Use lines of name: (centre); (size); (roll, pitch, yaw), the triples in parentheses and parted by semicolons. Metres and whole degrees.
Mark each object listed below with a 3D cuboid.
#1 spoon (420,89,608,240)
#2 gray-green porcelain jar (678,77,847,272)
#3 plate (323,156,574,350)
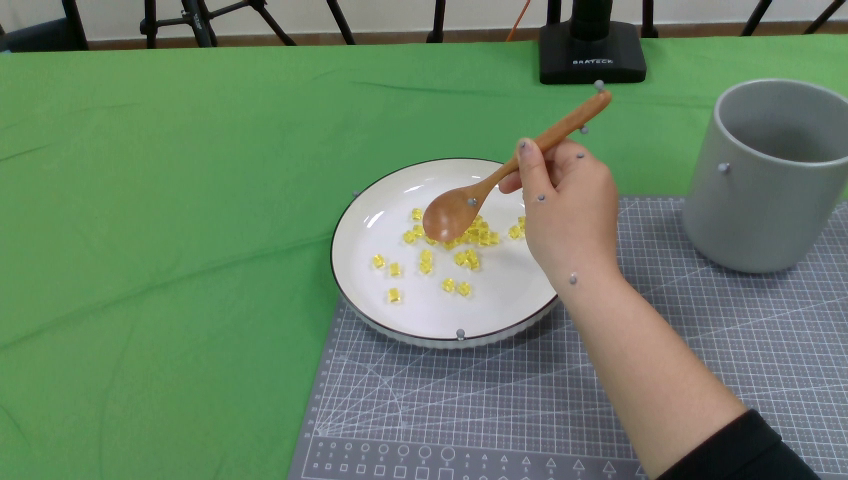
spoon: (0.063, -0.054, 0.474); (0.022, 0.194, 0.041); (-7, 68, -44)
gray-green porcelain jar: (0.265, -0.046, 0.480); (0.106, 0.128, 0.105); (-3, 47, 4)
plate: (0.020, 0.009, 0.517); (0.207, 0.039, 0.205); (-3, 48, 3)
